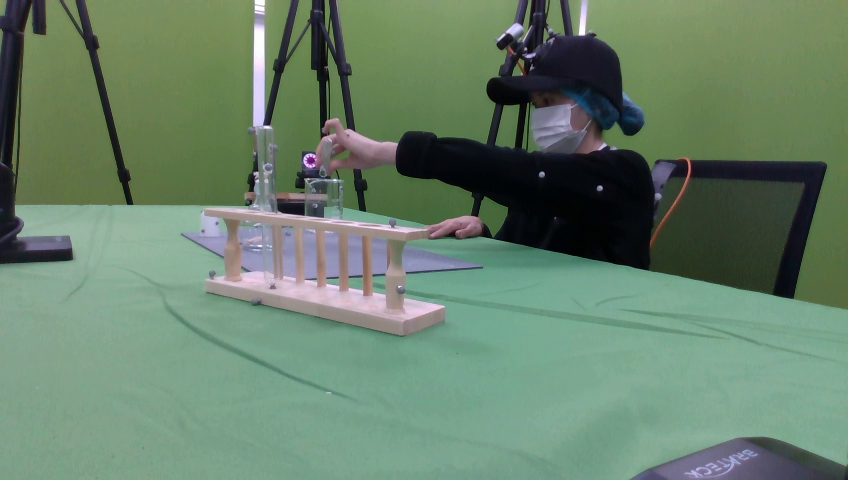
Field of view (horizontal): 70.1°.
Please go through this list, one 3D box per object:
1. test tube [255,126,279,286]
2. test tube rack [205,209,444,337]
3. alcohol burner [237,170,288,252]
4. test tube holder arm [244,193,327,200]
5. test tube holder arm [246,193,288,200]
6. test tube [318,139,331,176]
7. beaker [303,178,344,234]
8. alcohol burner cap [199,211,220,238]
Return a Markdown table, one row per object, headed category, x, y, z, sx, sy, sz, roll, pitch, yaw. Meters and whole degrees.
| category | x | y | z | sx | sy | sz | roll | pitch | yaw |
| --- | --- | --- | --- | --- | --- | --- | --- | --- | --- |
| test tube | -0.147 | -0.031 | 0.567 | 0.017 | 0.150 | 0.017 | -1 | 8 | 0 |
| test tube rack | -0.100 | 0.021 | 0.565 | 0.241 | 0.085 | 0.067 | 7 | 8 | 32 |
| alcohol burner | -0.236 | -0.042 | 0.882 | 0.078 | 0.119 | 0.078 | 2 | 9 | 0 |
| test tube holder arm | -0.284 | -0.090 | 1.258 | 0.179 | 0.015 | 0.013 | -3 | 0 | -37 |
| test tube holder arm | -0.317 | -0.088 | 1.226 | 0.088 | 0.015 | 0.010 | -3 | 0 | -37 |
| test tube | -0.170 | -0.139 | 1.034 | 0.017 | 0.017 | 0.150 | 1 | -13 | -12 |
| beaker | -0.189 | -0.063 | 1.119 | 0.073 | 0.100 | 0.084 | 6 | 9 | 28 |
| alcohol burner cap | -0.356 | -0.027 | 1.002 | 0.034 | 0.048 | 0.034 | 2 | 7 | 0 |
